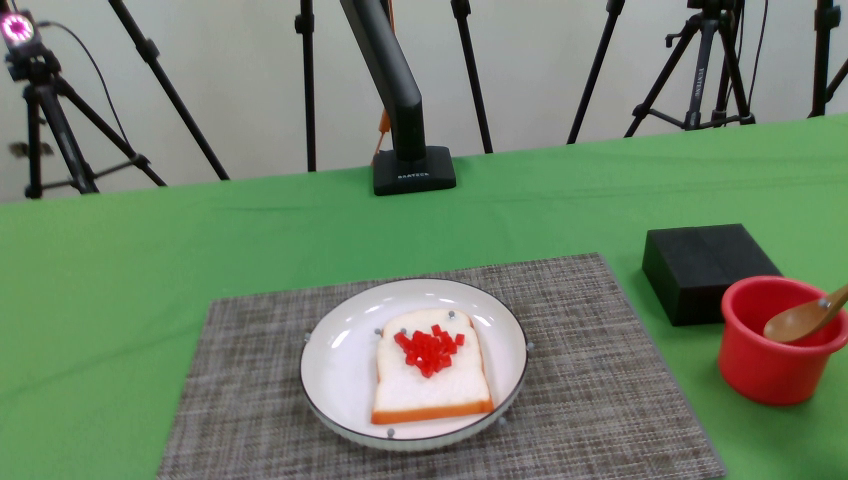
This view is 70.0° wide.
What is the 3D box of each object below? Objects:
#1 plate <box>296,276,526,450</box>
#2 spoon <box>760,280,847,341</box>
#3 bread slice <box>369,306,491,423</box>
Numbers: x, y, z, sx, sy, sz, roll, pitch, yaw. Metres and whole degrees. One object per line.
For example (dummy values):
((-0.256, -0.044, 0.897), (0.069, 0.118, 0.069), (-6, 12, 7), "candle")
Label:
((-0.012, 0.110, 0.562), (0.209, 0.038, 0.207), (-3, 35, 3), "plate")
((0.333, 0.027, 0.450), (0.021, 0.194, 0.041), (37, 47, 4), "spoon")
((0.001, 0.110, 0.565), (0.105, 0.019, 0.130), (-5, 36, -1), "bread slice")
